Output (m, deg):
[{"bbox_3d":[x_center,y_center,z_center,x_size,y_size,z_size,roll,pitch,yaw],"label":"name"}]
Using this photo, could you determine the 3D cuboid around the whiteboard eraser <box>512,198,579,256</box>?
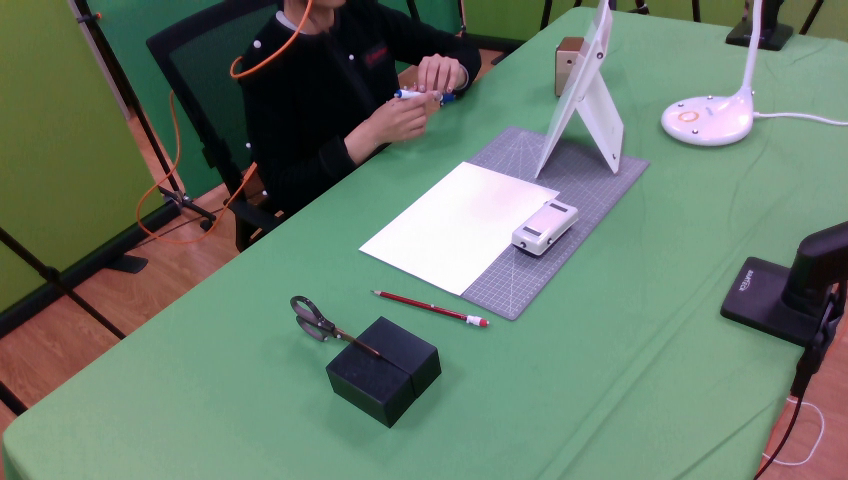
[{"bbox_3d":[0.191,-0.019,0.948,0.055,0.042,0.113,26,51,36],"label":"whiteboard eraser"}]

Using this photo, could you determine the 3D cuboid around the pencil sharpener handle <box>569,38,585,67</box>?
[{"bbox_3d":[0.332,-0.413,1.317,0.036,0.068,0.030,19,46,13],"label":"pencil sharpener handle"}]

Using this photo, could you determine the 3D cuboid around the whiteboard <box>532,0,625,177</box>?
[{"bbox_3d":[0.319,-0.258,1.050,0.144,0.306,0.217,21,45,5],"label":"whiteboard"}]

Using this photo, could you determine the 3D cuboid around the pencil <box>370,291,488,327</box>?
[{"bbox_3d":[0.003,0.097,0.877,0.193,0.012,0.012,13,45,26],"label":"pencil"}]

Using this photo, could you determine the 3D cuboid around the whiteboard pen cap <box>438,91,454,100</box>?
[{"bbox_3d":[0.043,-0.291,1.217,0.033,0.018,0.018,-10,32,-43],"label":"whiteboard pen cap"}]

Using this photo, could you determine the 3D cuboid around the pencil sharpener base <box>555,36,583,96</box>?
[{"bbox_3d":[0.317,-0.371,1.290,0.061,0.107,0.076,10,44,22],"label":"pencil sharpener base"}]

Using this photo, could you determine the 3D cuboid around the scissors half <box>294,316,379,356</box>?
[{"bbox_3d":[-0.119,0.132,0.813,0.174,0.040,0.013,9,31,44],"label":"scissors half"}]

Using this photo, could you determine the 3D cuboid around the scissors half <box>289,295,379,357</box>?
[{"bbox_3d":[-0.123,0.114,0.803,0.174,0.040,0.013,26,47,32],"label":"scissors half"}]

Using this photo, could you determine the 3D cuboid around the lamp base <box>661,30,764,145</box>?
[{"bbox_3d":[0.535,-0.287,1.096,0.179,0.181,0.159,-10,40,-4],"label":"lamp base"}]

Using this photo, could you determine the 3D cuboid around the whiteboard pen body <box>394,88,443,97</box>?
[{"bbox_3d":[-0.001,-0.286,1.176,0.142,0.017,0.017,-11,33,-42],"label":"whiteboard pen body"}]
